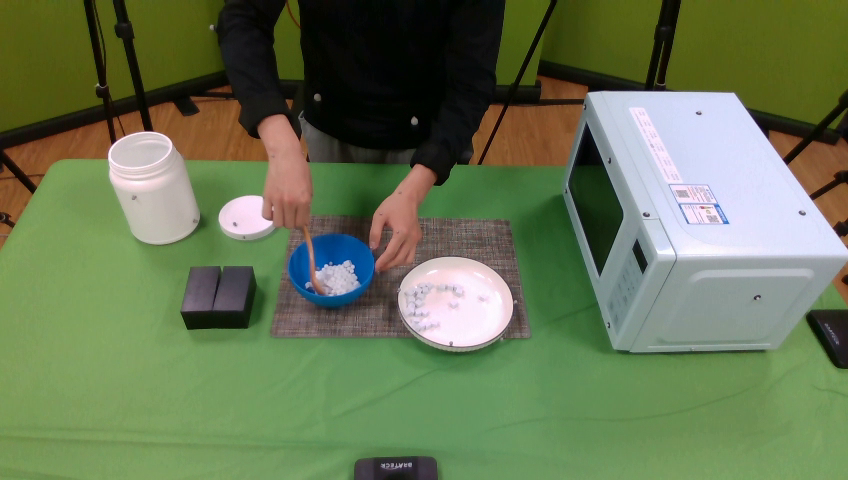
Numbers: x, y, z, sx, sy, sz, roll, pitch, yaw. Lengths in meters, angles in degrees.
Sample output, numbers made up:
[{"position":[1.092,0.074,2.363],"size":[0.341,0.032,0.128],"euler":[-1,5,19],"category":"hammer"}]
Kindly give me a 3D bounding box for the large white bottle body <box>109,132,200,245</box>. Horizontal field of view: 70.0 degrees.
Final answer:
[{"position":[-0.506,-0.097,1.141],"size":[0.131,0.185,0.130],"euler":[2,46,-2],"category":"large white bottle body"}]

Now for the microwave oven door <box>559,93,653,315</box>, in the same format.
[{"position":[0.327,-0.074,1.123],"size":[0.039,0.245,0.353],"euler":[-1,46,-5],"category":"microwave oven door"}]

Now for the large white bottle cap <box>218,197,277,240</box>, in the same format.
[{"position":[-0.355,-0.045,1.220],"size":[0.115,0.018,0.114],"euler":[2,45,-2],"category":"large white bottle cap"}]

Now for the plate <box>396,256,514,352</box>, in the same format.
[{"position":[0.053,0.116,1.077],"size":[0.209,0.038,0.208],"euler":[2,46,-2],"category":"plate"}]

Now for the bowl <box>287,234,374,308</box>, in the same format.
[{"position":[-0.165,0.068,1.078],"size":[0.151,0.077,0.150],"euler":[3,45,-3],"category":"bowl"}]

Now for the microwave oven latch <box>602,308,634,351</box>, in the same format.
[{"position":[0.332,0.153,1.044],"size":[0.030,0.029,0.078],"euler":[-1,45,-4],"category":"microwave oven latch"}]

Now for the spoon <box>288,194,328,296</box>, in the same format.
[{"position":[-0.200,0.011,1.046],"size":[0.021,0.041,0.193],"euler":[-16,85,-12],"category":"spoon"}]

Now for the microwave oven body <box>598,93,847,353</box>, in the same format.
[{"position":[0.475,-0.041,1.109],"size":[0.326,0.261,0.438],"euler":[-1,45,-4],"category":"microwave oven body"}]
